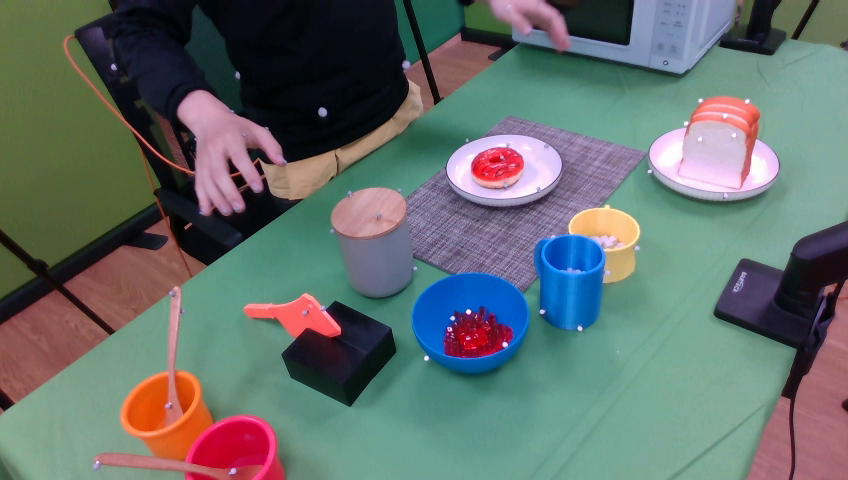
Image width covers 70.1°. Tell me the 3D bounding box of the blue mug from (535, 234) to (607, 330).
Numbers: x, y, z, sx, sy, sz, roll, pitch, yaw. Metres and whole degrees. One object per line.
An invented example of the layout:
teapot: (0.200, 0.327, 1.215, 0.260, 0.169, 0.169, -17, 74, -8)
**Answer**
blue mug: (0.191, 0.048, 0.824, 0.082, 0.106, 0.115, -26, 44, -20)

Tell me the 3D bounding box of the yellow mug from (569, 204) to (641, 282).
yellow mug: (0.268, -0.005, 0.904, 0.099, 0.064, 0.130, 7, 41, 15)

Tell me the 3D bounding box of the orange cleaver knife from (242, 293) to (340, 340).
orange cleaver knife: (-0.185, 0.107, 0.827, 0.210, 0.077, 0.012, -9, 29, 48)

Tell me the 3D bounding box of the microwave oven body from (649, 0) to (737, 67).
microwave oven body: (0.475, -0.602, 1.411, 0.438, 0.261, 0.327, 23, 50, 32)

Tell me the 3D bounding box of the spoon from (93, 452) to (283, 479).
spoon: (-0.240, 0.239, 0.632, 0.195, 0.021, 0.041, 26, 34, -32)

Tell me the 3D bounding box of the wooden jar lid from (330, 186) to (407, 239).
wooden jar lid: (-0.077, -0.035, 0.847, 0.108, 0.021, 0.108, -5, 42, 5)

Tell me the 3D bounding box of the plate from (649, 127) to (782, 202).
plate: (0.493, -0.127, 1.036, 0.207, 0.039, 0.206, -4, 41, 4)

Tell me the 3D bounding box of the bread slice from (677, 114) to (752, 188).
bread slice: (0.467, -0.144, 0.976, 0.104, 0.132, 0.019, 18, 55, 30)

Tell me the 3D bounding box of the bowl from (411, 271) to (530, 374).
bowl: (0.062, 0.120, 0.780, 0.151, 0.077, 0.150, -4, 40, 4)

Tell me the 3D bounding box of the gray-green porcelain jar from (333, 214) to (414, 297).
gray-green porcelain jar: (-0.071, 0.012, 0.887, 0.106, 0.127, 0.105, -4, 41, 4)

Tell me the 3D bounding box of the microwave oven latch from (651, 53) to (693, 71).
microwave oven latch: (0.532, -0.386, 1.301, 0.078, 0.029, 0.030, 27, 52, 34)

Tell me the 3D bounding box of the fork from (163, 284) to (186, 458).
fork: (-0.302, 0.157, 0.733, 0.028, 0.019, 0.207, -3, 84, 14)

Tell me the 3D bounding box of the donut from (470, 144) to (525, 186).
donut: (0.130, -0.134, 1.073, 0.099, 0.048, 0.098, -6, 40, 6)

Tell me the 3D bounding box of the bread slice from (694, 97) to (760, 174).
bread slice: (0.497, -0.173, 1.004, 0.106, 0.135, 0.018, 23, 51, 26)

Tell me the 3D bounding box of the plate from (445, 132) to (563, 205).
plate: (0.142, -0.123, 1.076, 0.209, 0.038, 0.208, -4, 41, 4)

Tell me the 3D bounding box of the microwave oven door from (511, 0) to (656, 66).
microwave oven door: (0.351, -0.540, 1.349, 0.353, 0.245, 0.039, 24, 50, 31)
